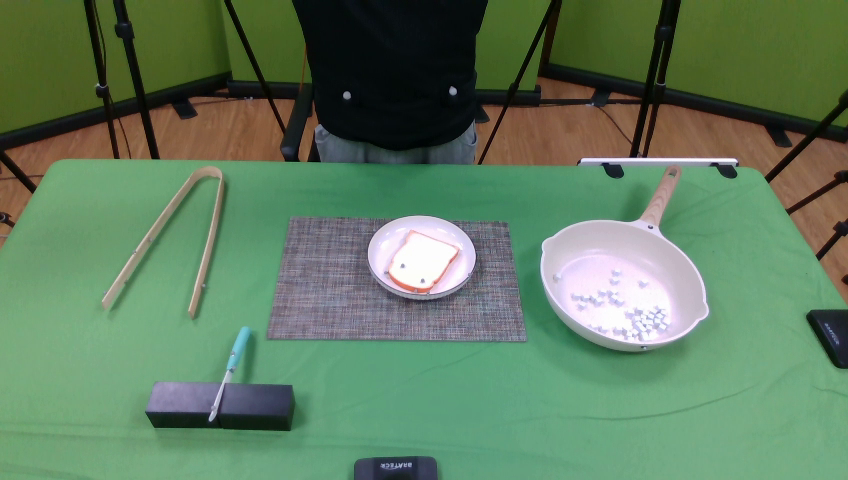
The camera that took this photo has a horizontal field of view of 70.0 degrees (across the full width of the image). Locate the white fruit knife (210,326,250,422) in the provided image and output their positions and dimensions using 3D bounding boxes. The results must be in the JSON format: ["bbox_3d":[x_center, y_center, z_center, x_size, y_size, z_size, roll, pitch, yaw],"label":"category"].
[{"bbox_3d":[-0.301,0.201,0.942,0.016,0.027,0.206,3,32,-3],"label":"white fruit knife"}]

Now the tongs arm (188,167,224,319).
[{"bbox_3d":[-0.420,-0.009,1.170,0.028,0.028,0.385,-3,47,-4],"label":"tongs arm"}]

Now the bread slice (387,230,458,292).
[{"bbox_3d":[-0.007,0.043,1.142,0.107,0.018,0.134,18,46,14],"label":"bread slice"}]

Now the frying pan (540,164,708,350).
[{"bbox_3d":[0.407,0.012,1.160,0.306,0.103,0.486,26,58,18],"label":"frying pan"}]

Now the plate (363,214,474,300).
[{"bbox_3d":[-0.010,0.036,1.146,0.208,0.039,0.206,3,46,-2],"label":"plate"}]

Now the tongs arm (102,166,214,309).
[{"bbox_3d":[-0.499,-0.018,1.166,0.051,0.026,0.382,8,45,2],"label":"tongs arm"}]
